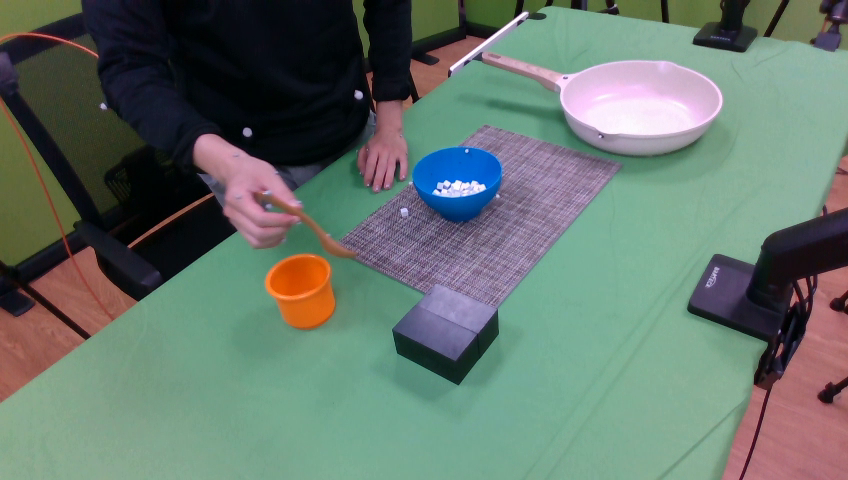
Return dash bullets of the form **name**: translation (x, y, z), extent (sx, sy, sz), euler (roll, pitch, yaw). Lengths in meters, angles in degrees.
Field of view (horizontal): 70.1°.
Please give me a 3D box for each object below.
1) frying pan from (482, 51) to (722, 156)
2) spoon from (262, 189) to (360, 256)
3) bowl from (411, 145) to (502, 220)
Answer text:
- **frying pan**: translation (0.326, -0.298, 1.204), extent (0.485, 0.103, 0.307), euler (28, 51, 23)
- **spoon**: translation (-0.137, -0.019, 0.746), extent (0.041, 0.195, 0.021), euler (11, 70, 30)
- **bowl**: translation (0.057, -0.086, 1.010), extent (0.151, 0.077, 0.150), euler (-4, 40, 4)
